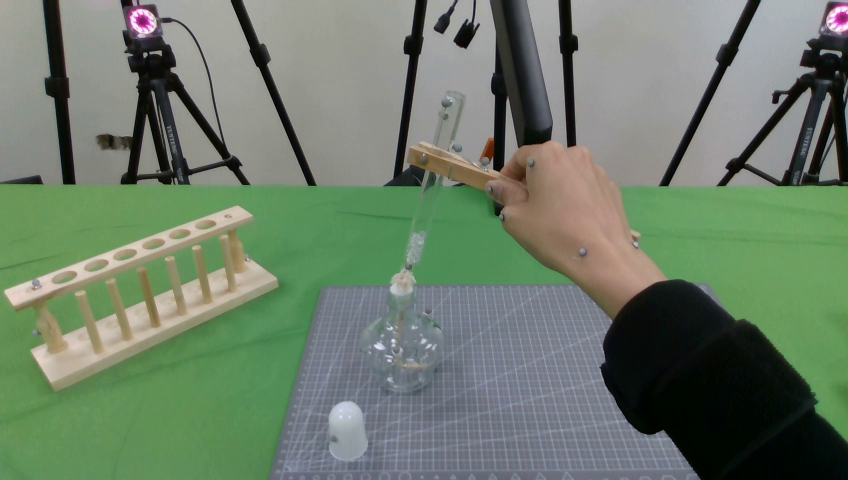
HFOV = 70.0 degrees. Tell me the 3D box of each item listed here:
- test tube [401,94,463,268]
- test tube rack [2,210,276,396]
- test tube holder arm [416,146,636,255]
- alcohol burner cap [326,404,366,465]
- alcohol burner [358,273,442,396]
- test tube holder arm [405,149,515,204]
[{"bbox_3d":[0.004,-0.040,0.472,0.017,0.151,0.017,12,31,-7],"label":"test tube"},{"bbox_3d":[-0.283,0.056,0.636,0.242,0.086,0.066,-26,39,-36],"label":"test tube rack"},{"bbox_3d":[0.068,-0.032,0.441,0.177,0.015,0.013,26,32,22],"label":"test tube holder arm"},{"bbox_3d":[-0.066,0.156,0.497,0.034,0.048,0.033,0,30,0],"label":"alcohol burner cap"},{"bbox_3d":[-0.022,0.082,0.552,0.078,0.120,0.077,0,29,0],"label":"alcohol burner"},{"bbox_3d":[0.027,-0.047,0.451,0.087,0.015,0.010,21,30,14],"label":"test tube holder arm"}]
